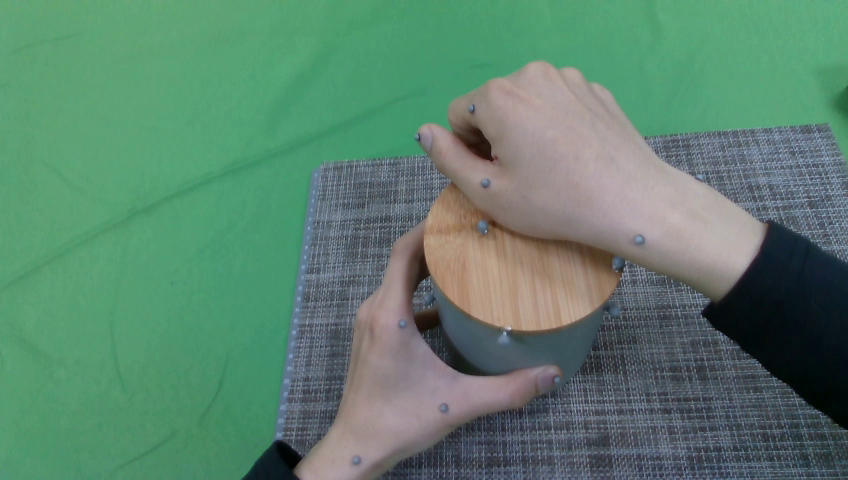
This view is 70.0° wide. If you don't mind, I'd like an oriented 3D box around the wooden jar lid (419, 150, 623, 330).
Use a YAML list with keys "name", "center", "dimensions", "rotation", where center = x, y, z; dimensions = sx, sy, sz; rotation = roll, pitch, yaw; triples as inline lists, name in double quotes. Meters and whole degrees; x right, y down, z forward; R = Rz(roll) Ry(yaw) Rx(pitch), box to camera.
- name: "wooden jar lid"
  center: [0.052, 0.000, 0.331]
  dimensions: [0.108, 0.021, 0.107]
  rotation: [-2, 63, 4]

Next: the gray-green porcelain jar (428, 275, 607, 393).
- name: "gray-green porcelain jar"
  center: [0.057, 0.033, 0.385]
  dimensions: [0.106, 0.127, 0.105]
  rotation: [-2, 58, 4]
